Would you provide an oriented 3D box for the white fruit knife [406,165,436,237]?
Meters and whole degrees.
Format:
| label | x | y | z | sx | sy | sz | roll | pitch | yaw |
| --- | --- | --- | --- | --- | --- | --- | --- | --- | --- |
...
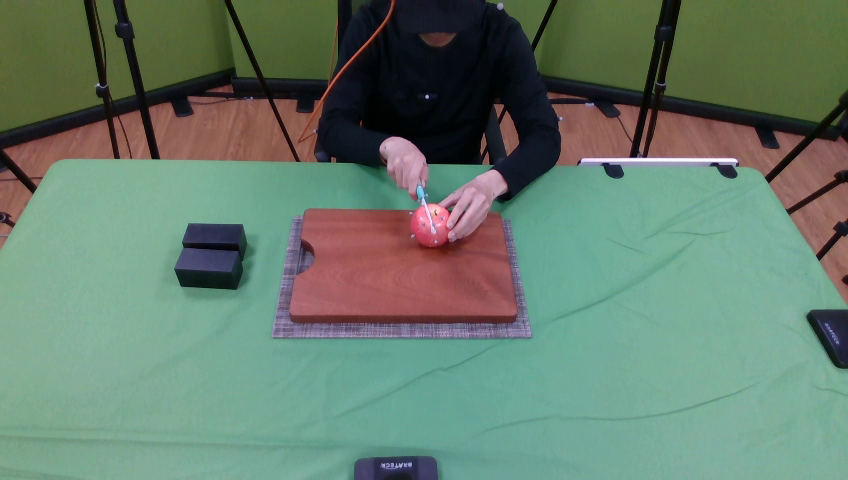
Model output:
| label | x | y | z | sx | sy | sz | roll | pitch | yaw |
| --- | --- | --- | --- | --- | --- | --- | --- | --- | --- |
| white fruit knife | -0.004 | -0.078 | 1.151 | 0.016 | 0.027 | 0.206 | -7 | 45 | -14 |

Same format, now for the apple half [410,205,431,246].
| label | x | y | z | sx | sy | sz | roll | pitch | yaw |
| --- | --- | --- | --- | --- | --- | --- | --- | --- | --- |
| apple half | -0.010 | -0.023 | 1.140 | 0.033 | 0.081 | 0.080 | -7 | 47 | -11 |

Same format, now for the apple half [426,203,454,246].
| label | x | y | z | sx | sy | sz | roll | pitch | yaw |
| --- | --- | --- | --- | --- | --- | --- | --- | --- | --- |
| apple half | 0.029 | -0.029 | 1.149 | 0.053 | 0.075 | 0.080 | -6 | 44 | -12 |
